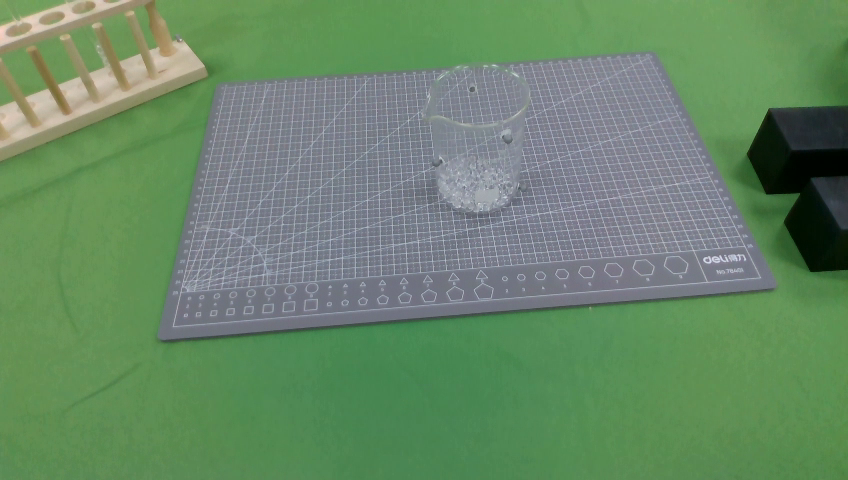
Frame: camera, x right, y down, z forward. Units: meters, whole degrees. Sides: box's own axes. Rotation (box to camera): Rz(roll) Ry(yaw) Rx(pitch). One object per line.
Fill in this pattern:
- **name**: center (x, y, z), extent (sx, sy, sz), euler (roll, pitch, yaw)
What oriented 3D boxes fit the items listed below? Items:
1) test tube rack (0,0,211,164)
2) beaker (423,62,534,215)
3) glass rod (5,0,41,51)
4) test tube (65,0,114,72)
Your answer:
- **test tube rack**: center (-0.340, -0.158, 0.574), extent (0.242, 0.086, 0.066), euler (-30, 56, -20)
- **beaker**: center (0.041, -0.074, 0.476), extent (0.084, 0.101, 0.073), euler (-20, 52, -12)
- **glass rod**: center (-0.354, -0.199, 0.522), extent (0.008, 0.201, 0.008), euler (2, 52, -2)
- **test tube**: center (-0.320, -0.218, 0.558), extent (0.017, 0.151, 0.017), euler (-3, 53, 4)
